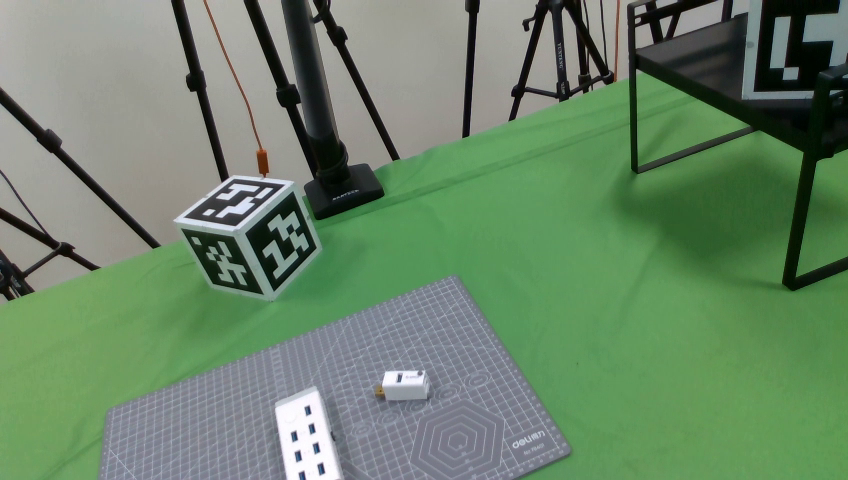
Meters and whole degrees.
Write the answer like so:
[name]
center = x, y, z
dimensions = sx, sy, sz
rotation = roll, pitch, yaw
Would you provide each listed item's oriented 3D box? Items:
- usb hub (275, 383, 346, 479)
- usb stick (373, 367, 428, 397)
[usb hub]
center = -0.115, 0.200, 0.601
dimensions = 0.049, 0.025, 0.123
rotation = -22, 35, -8
[usb stick]
center = -0.027, 0.149, 0.635
dimensions = 0.059, 0.027, 0.021
rotation = -8, 36, 15
